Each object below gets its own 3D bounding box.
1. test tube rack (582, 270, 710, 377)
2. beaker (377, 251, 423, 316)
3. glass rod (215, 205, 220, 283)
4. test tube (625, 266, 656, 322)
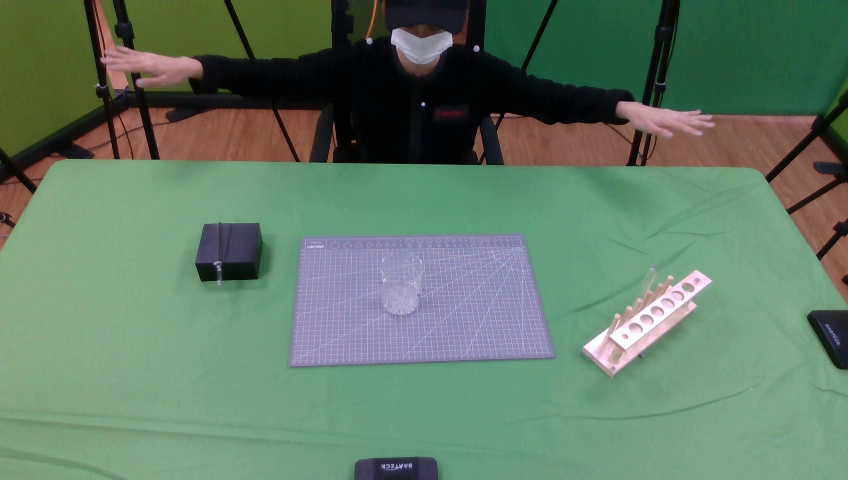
[{"bbox_3d":[0.389,0.132,1.057,0.242,0.085,0.066,-28,53,-28],"label":"test tube rack"},{"bbox_3d":[-0.040,0.081,1.060,0.074,0.101,0.083,-32,57,-30],"label":"beaker"},{"bbox_3d":[-0.376,0.003,1.104,0.008,0.008,0.198,-8,47,-12],"label":"glass rod"},{"bbox_3d":[0.366,0.096,1.027,0.017,0.151,0.017,1,47,0],"label":"test tube"}]
